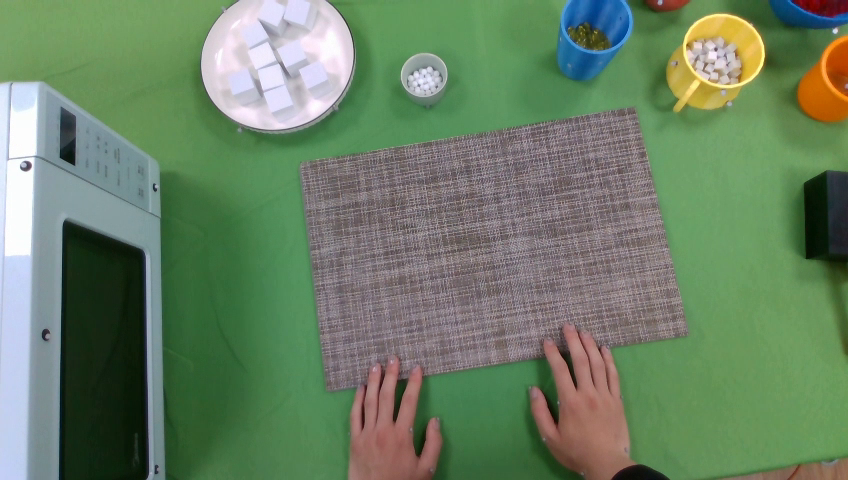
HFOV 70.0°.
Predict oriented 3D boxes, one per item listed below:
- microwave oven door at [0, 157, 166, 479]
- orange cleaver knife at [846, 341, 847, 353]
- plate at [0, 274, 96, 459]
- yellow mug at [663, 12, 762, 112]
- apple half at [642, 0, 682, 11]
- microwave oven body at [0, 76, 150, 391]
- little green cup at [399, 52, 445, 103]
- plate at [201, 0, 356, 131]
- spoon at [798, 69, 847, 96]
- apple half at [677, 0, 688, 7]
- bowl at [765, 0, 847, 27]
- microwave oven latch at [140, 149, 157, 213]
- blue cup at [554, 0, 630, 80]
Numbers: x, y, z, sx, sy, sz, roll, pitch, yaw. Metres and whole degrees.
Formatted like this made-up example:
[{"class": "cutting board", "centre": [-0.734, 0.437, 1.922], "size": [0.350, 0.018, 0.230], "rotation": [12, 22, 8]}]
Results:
[{"class": "microwave oven door", "centre": [-0.346, 0.119, 0.636], "size": [0.039, 0.245, 0.354], "rotation": [-7, 79, 2]}, {"class": "orange cleaver knife", "centre": [0.520, 0.031, 0.707], "size": [0.012, 0.077, 0.212], "rotation": [5, 109, 7]}, {"class": "plate", "centre": [-0.477, 0.143, 0.696], "size": [0.209, 0.038, 0.208], "rotation": [0, 79, 2]}, {"class": "yellow mug", "centre": [0.356, -0.216, 0.771], "size": [0.099, 0.064, 0.131], "rotation": [39, 85, 10]}, {"class": "apple half", "centre": [0.306, -0.343, 0.795], "size": [0.053, 0.075, 0.080], "rotation": [-4, 82, 6]}, {"class": "microwave oven body", "centre": [-0.495, 0.094, 0.654], "size": [0.326, 0.261, 0.439], "rotation": [-6, 79, 1]}, {"class": "little green cup", "centre": [-0.001, -0.213, 0.804], "size": [0.061, 0.039, 0.061], "rotation": [-1, 79, 3]}, {"class": "plate", "centre": [-0.193, -0.241, 0.819], "size": [0.207, 0.039, 0.206], "rotation": [-1, 79, 3]}, {"class": "spoon", "centre": [0.542, -0.179, 0.712], "size": [0.041, 0.192, 0.022], "rotation": [-51, 125, -7]}, {"class": "apple half", "centre": [0.346, -0.346, 0.792], "size": [0.033, 0.081, 0.081], "rotation": [-4, 78, 6]}, {"class": "bowl", "centre": [0.499, -0.333, 0.780], "size": [0.151, 0.077, 0.151], "rotation": [-1, 80, 3]}, {"class": "microwave oven latch", "centre": [-0.360, -0.075, 0.777], "size": [0.030, 0.029, 0.079], "rotation": [-4, 80, 2]}, {"class": "blue cup", "centre": [0.204, -0.252, 0.768], "size": [0.092, 0.100, 0.092], "rotation": [0, 80, 2]}]
